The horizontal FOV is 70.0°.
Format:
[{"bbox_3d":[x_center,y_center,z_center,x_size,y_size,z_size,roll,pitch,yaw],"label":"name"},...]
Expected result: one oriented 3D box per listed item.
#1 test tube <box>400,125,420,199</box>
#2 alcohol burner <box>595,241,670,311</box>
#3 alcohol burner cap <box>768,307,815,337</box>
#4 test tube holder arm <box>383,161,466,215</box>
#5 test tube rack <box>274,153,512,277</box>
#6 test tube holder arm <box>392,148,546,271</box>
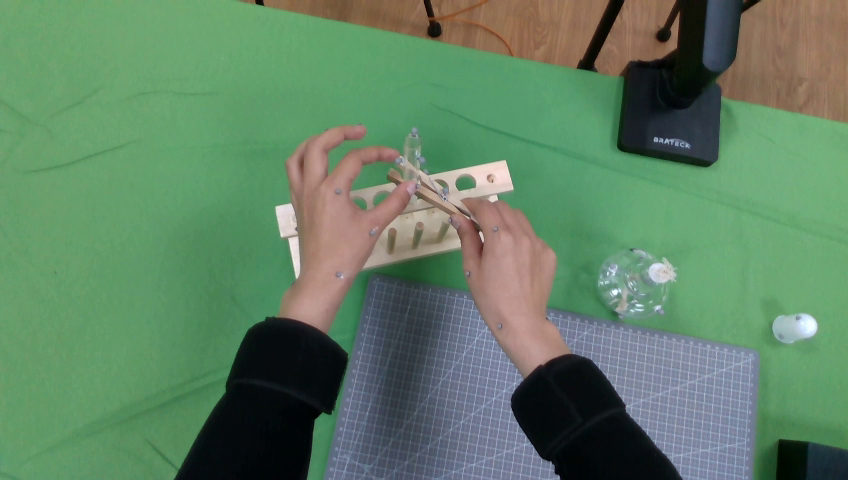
[{"bbox_3d":[-0.015,-0.067,0.570,0.017,0.151,0.017,1,73,-3],"label":"test tube"},{"bbox_3d":[0.227,0.035,0.643,0.078,0.119,0.077,1,76,-5],"label":"alcohol burner"},{"bbox_3d":[0.416,0.091,0.681,0.034,0.048,0.033,1,75,-3],"label":"alcohol burner cap"},{"bbox_3d":[0.002,-0.049,0.575,0.088,0.015,0.010,27,76,2],"label":"test tube holder arm"},{"bbox_3d":[-0.028,-0.025,0.652,0.243,0.085,0.066,-12,77,-7],"label":"test tube rack"},{"bbox_3d":[0.042,-0.029,0.574,0.178,0.015,0.013,36,77,4],"label":"test tube holder arm"}]
